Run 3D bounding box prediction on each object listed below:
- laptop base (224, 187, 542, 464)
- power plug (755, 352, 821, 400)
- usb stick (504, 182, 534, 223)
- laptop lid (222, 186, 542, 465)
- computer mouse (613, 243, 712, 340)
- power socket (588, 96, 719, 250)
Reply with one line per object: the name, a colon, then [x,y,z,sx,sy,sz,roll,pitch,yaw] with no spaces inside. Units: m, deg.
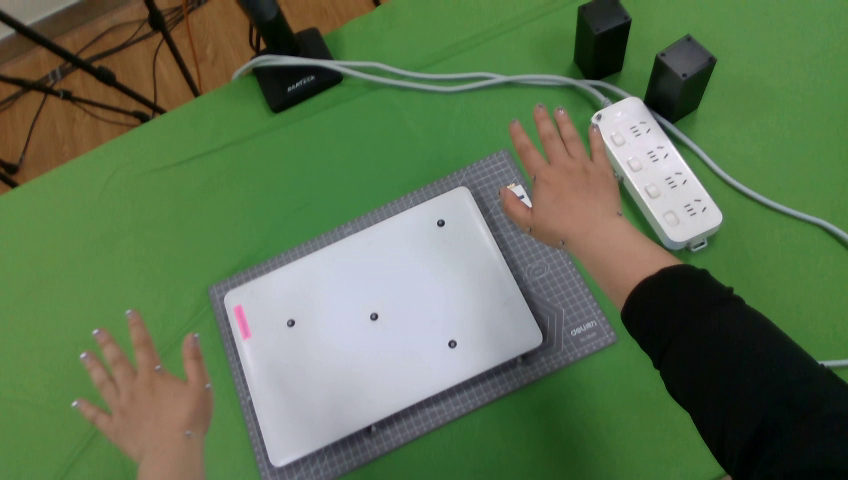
laptop base: [-0.061,0.098,0.761,0.354,0.023,0.233,-25,69,-1]
power plug: [0.394,0.145,0.648,0.072,0.035,0.052,-11,49,16]
usb stick: [0.120,-0.053,0.785,0.021,0.027,0.058,-27,64,3]
laptop lid: [-0.062,0.096,0.750,0.357,0.013,0.239,-24,68,0]
computer mouse: [0.278,0.057,0.709,0.063,0.041,0.116,-31,62,-1]
power socket: [0.286,-0.090,0.769,0.072,0.033,0.224,-25,65,0]
